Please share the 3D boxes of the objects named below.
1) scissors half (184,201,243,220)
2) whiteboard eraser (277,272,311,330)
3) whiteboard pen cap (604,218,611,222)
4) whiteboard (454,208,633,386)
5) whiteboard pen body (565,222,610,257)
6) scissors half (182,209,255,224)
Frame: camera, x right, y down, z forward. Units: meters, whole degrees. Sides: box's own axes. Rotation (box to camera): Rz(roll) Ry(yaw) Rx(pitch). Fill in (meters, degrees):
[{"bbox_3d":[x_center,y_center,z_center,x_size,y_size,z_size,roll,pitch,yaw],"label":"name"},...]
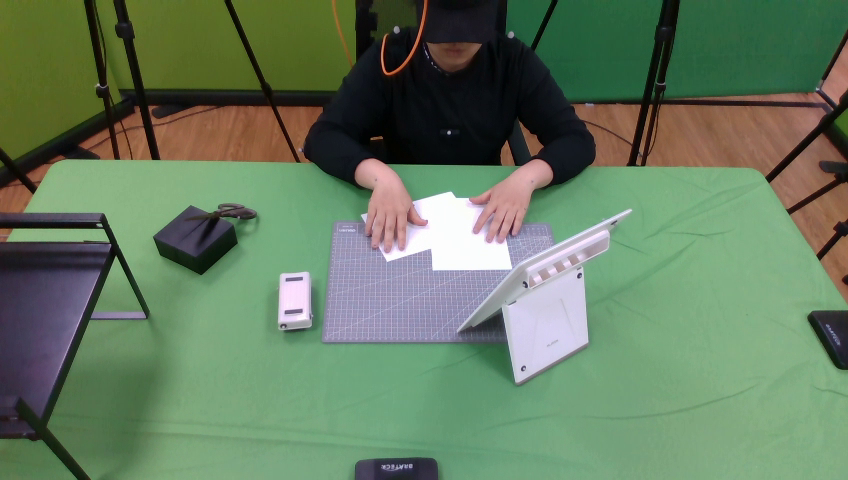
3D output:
[{"bbox_3d":[-0.405,-0.054,1.163,0.040,0.013,0.175,27,18,8],"label":"scissors half"},{"bbox_3d":[-0.228,0.108,1.062,0.056,0.042,0.112,-3,46,-10],"label":"whiteboard eraser"},{"bbox_3d":[0.379,-0.031,1.255,0.033,0.018,0.018,-33,56,-29],"label":"whiteboard pen cap"},{"bbox_3d":[0.211,0.111,0.954,0.217,0.306,0.143,-22,72,-24],"label":"whiteboard"},{"bbox_3d":[0.335,-0.004,1.228,0.141,0.017,0.017,-32,56,-29],"label":"whiteboard pen body"},{"bbox_3d":[-0.389,-0.043,1.158,0.040,0.013,0.175,39,21,23],"label":"scissors half"}]
